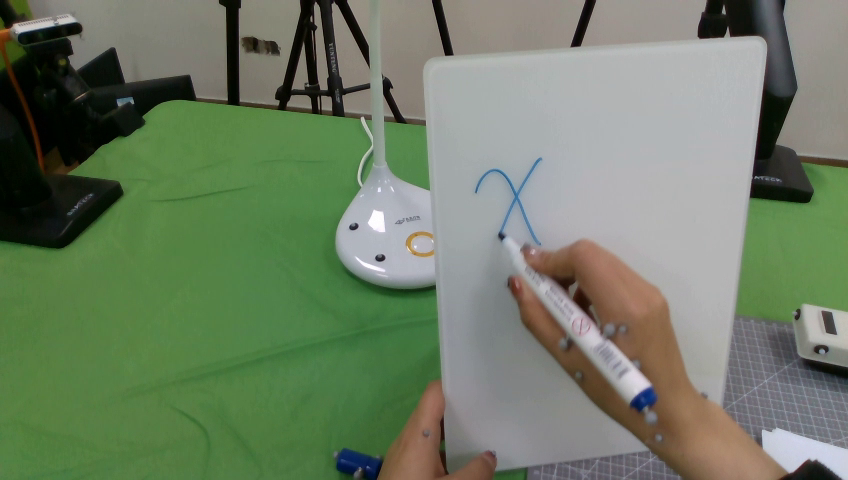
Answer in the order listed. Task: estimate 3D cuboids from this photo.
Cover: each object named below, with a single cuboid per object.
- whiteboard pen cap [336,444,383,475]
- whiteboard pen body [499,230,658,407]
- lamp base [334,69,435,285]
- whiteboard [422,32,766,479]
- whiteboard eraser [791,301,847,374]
[{"bbox_3d":[-0.049,0.166,0.460,0.033,0.018,0.018,9,40,14],"label":"whiteboard pen cap"},{"bbox_3d":[0.083,0.038,0.351,0.017,0.017,0.139,-19,49,-21],"label":"whiteboard pen body"},{"bbox_3d":[-0.027,-0.073,0.627,0.161,0.182,0.177,-24,42,-26],"label":"lamp base"},{"bbox_3d":[0.109,0.004,0.476,0.217,0.307,0.143,-5,20,-4],"label":"whiteboard"},{"bbox_3d":[0.383,0.091,0.525,0.112,0.042,0.055,12,42,16],"label":"whiteboard eraser"}]
